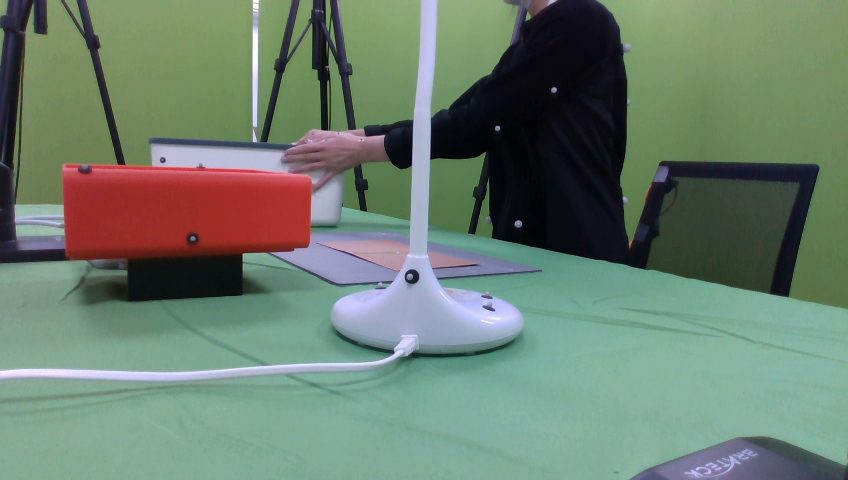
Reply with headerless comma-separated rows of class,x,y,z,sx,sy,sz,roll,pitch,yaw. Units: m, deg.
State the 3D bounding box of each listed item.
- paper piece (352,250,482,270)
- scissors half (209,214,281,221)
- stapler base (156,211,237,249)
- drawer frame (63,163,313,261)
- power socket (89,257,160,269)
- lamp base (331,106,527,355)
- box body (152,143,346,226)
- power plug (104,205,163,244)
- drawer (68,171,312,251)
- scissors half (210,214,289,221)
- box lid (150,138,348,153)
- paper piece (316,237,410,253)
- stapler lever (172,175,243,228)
paper piece,-0.013,0.026,0.841,0.139,0.008,0.135,-1,11,-32
scissors half,-0.364,-0.044,1.216,0.174,0.013,0.040,-1,0,26
stapler base,-0.227,-0.017,0.624,0.041,0.024,0.130,19,9,-2
drawer frame,-0.248,-0.036,0.626,0.215,0.082,0.200,-3,9,-31
power socket,-0.409,0.004,0.793,0.072,0.032,0.225,-2,8,-38
lamp base,0.006,-0.012,0.478,0.161,0.180,0.179,2,10,2
box body,-0.365,-0.119,1.263,0.366,0.160,0.253,0,8,-23
power plug,-0.390,-0.021,0.815,0.073,0.052,0.035,-1,8,-28
drawer,-0.247,-0.036,0.629,0.213,0.073,0.193,-3,9,-30
scissors half,-0.357,-0.044,1.235,0.175,0.013,0.040,1,-5,9
box lid,-0.360,-0.192,1.255,0.373,0.015,0.262,-1,8,-22
paper piece,-0.083,0.008,0.951,0.136,0.004,0.134,-2,9,-31
stapler lever,-0.217,-0.041,0.618,0.027,0.040,0.118,19,11,-2
